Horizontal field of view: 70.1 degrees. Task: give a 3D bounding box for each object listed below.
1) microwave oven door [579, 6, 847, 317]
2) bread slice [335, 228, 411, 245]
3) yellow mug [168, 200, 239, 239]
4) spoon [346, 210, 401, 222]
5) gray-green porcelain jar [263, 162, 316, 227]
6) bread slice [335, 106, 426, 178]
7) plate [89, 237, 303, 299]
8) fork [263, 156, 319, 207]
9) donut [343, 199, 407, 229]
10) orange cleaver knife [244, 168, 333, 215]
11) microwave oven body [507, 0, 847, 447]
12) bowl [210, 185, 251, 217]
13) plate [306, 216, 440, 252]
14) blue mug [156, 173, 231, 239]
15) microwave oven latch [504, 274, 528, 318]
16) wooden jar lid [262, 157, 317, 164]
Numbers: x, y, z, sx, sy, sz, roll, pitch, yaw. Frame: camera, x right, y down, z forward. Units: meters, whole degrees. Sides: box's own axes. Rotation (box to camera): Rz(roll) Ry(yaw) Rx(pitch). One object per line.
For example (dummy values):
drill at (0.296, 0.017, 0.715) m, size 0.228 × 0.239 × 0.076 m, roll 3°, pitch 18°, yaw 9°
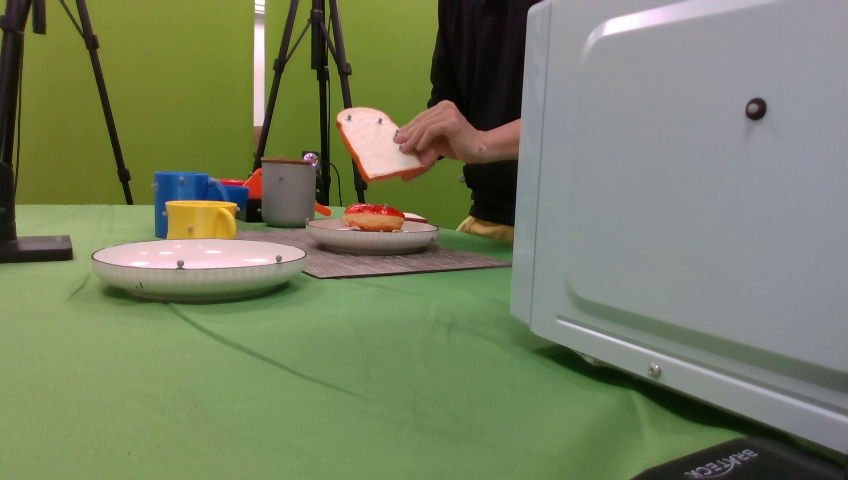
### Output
microwave oven door at (0.294, -0.067, 0.570) m, size 0.358 × 0.243 × 0.039 m, roll -3°, pitch 9°, yaw -31°
bread slice at (-0.075, -0.006, 0.937) m, size 0.105 × 0.019 × 0.131 m, roll -2°, pitch 5°, yaw -19°
yellow mug at (-0.320, -0.023, 0.904) m, size 0.130 × 0.064 × 0.100 m, roll 9°, pitch 10°, yaw 36°
spoon at (-0.121, -0.060, 1.400) m, size 0.042 × 0.021 × 0.192 m, roll -28°, pitch 25°, yaw -37°
gray-green porcelain jar at (-0.271, -0.092, 1.217) m, size 0.106 × 0.126 × 0.106 m, roll 2°, pitch 7°, yaw 0°
bread slice at (-0.075, -0.150, 0.912) m, size 0.107 × 0.018 × 0.134 m, roll -19°, pitch 64°, yaw -40°
plate at (-0.233, 0.029, 0.637) m, size 0.208 × 0.039 × 0.207 m, roll 2°, pitch 7°, yaw 0°
fork at (-0.331, -0.144, 1.506) m, size 0.207 × 0.018 × 0.028 m, roll -42°, pitch -20°, yaw 22°
donut at (-0.077, -0.039, 0.948) m, size 0.099 × 0.048 × 0.099 m, roll 2°, pitch 4°, yaw 0°
orange cleaver knife at (-0.300, -0.089, 1.351) m, size 0.212 × 0.077 × 0.012 m, roll 28°, pitch -9°, yaw -34°
microwave oven body at (0.331, -0.042, 0.425) m, size 0.444 × 0.260 × 0.324 m, roll -2°, pitch 8°, yaw -31°
bowl at (-0.408, -0.064, 1.155) m, size 0.151 × 0.077 × 0.151 m, roll 2°, pitch 8°, yaw 0°
plate at (-0.080, -0.011, 0.949) m, size 0.209 × 0.038 × 0.209 m, roll 2°, pitch 8°, yaw 0°
blue mug at (-0.381, -0.057, 1.004) m, size 0.117 × 0.106 × 0.082 m, roll 0°, pitch 8°, yaw -12°
microwave oven latch at (0.100, 0.041, 0.471) m, size 0.079 × 0.029 × 0.030 m, roll -1°, pitch 8°, yaw -28°
wooden jar lid at (-0.269, -0.154, 1.208) m, size 0.108 × 0.020 × 0.108 m, roll 3°, pitch 4°, yaw 0°
